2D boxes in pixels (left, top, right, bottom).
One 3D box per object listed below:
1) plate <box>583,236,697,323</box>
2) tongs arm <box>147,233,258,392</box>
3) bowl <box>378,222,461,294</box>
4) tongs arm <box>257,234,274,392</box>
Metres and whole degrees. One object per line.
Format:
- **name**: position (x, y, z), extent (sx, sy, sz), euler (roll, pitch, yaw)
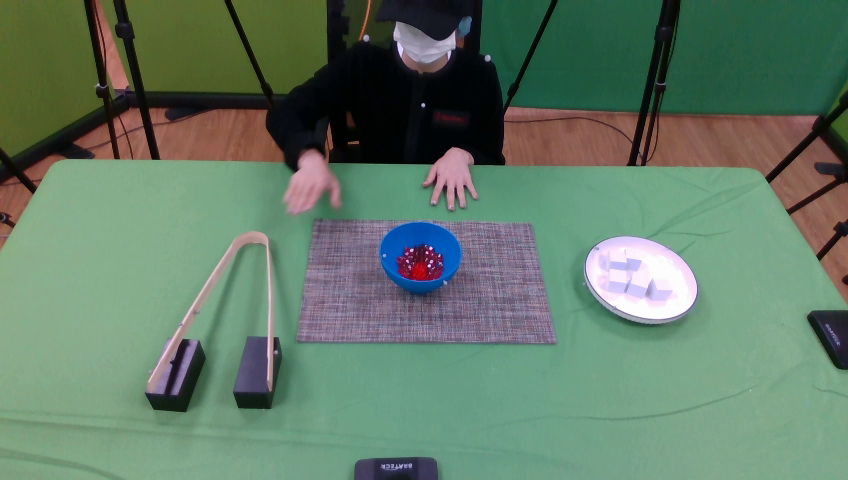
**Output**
- **plate**: position (0.403, 0.078, 1.144), extent (0.209, 0.038, 0.208), euler (2, 45, -2)
- **tongs arm**: position (-0.358, 0.103, 1.018), extent (0.051, 0.026, 0.382), euler (3, 34, 2)
- **bowl**: position (-0.010, 0.046, 1.110), extent (0.151, 0.077, 0.150), euler (2, 46, -2)
- **tongs arm**: position (-0.269, 0.104, 1.025), extent (0.028, 0.028, 0.385), euler (-9, 36, -9)
